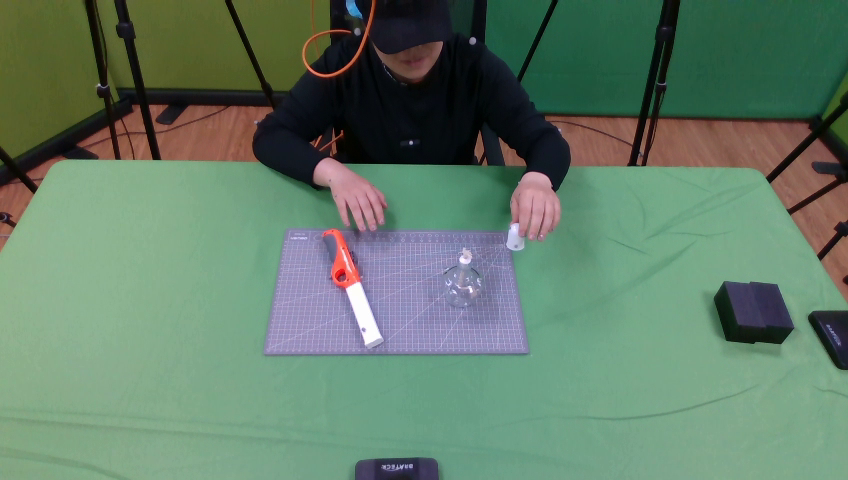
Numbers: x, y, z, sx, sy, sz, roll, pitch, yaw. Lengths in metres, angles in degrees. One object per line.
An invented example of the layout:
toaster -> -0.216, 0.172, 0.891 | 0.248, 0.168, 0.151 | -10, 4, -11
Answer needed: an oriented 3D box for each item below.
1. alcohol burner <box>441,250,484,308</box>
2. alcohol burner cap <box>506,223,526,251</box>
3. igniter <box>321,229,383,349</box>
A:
alcohol burner -> 0.069, 0.064, 1.075 | 0.078, 0.120, 0.077 | 1, 45, -1
alcohol burner cap -> 0.161, -0.007, 1.050 | 0.034, 0.048, 0.033 | -1, 39, 1
igniter -> -0.134, 0.078, 1.102 | 0.057, 0.025, 0.274 | -28, 53, 0
